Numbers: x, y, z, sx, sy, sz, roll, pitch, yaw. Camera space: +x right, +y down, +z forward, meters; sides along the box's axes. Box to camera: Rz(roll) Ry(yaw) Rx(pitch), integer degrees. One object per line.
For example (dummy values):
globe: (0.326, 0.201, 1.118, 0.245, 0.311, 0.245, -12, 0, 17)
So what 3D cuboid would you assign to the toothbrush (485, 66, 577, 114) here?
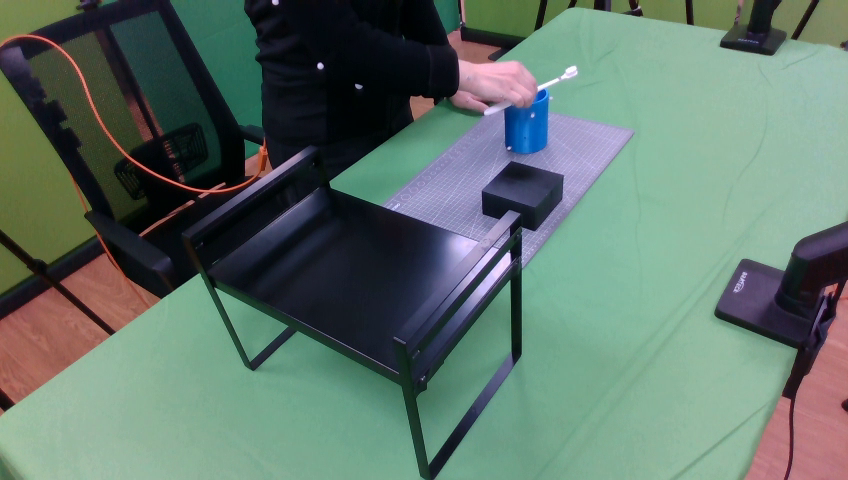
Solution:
toothbrush: (0.190, -0.265, 1.070, 0.182, 0.017, 0.014, -25, 71, -3)

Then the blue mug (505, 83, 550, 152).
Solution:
blue mug: (0.204, -0.243, 1.160, 0.082, 0.106, 0.116, 14, 45, 24)
